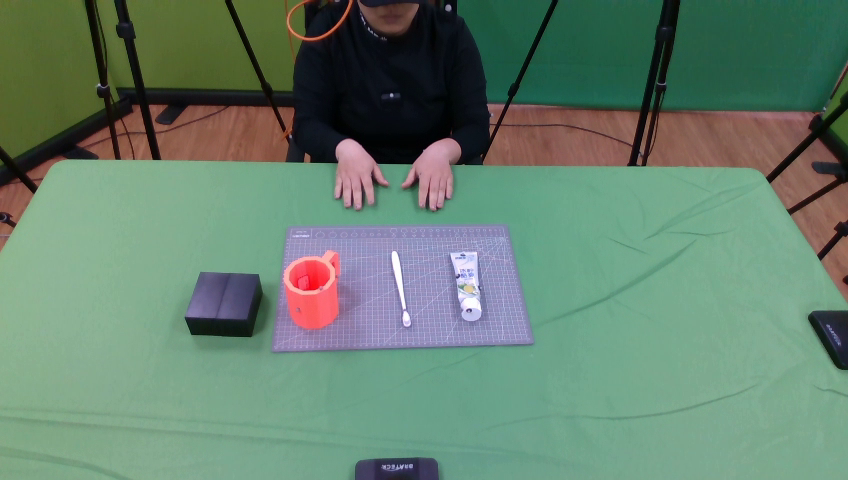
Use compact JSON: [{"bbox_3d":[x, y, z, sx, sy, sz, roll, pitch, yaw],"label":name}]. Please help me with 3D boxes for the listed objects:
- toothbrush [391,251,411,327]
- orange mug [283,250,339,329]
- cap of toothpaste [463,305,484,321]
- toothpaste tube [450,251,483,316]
[{"bbox_3d":[-0.044,0.085,1.112,0.014,0.017,0.180,-14,46,0],"label":"toothbrush"},{"bbox_3d":[-0.186,0.078,1.052,0.083,0.101,0.126,20,52,15],"label":"orange mug"},{"bbox_3d":[0.087,0.128,1.064,0.037,0.037,0.011,2,40,-1],"label":"cap of toothpaste"},{"bbox_3d":[0.084,0.077,1.122,0.055,0.035,0.164,3,42,-8],"label":"toothpaste tube"}]
